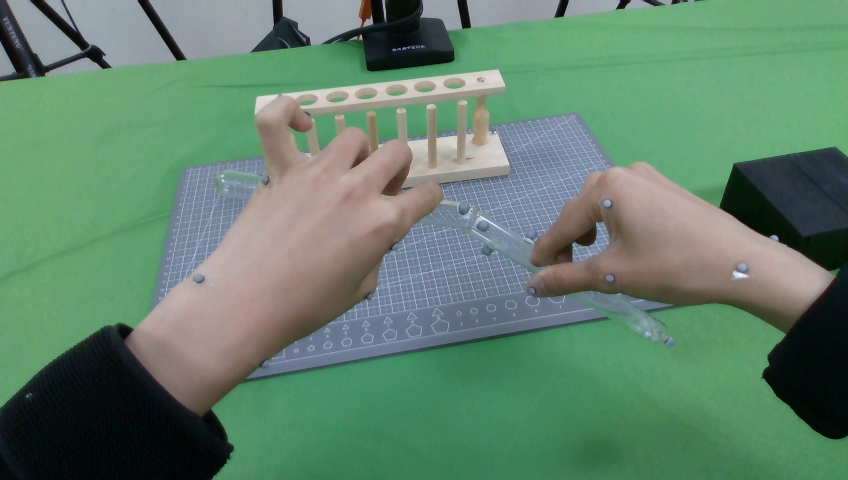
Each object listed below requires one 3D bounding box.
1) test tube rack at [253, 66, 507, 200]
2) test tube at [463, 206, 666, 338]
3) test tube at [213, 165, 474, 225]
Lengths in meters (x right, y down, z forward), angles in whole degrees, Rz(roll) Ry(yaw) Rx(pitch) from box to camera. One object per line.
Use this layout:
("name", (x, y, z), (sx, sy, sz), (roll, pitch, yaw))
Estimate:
("test tube rack", (-0.040, -0.108, 0.610), (0.242, 0.086, 0.066), (-7, 44, -4))
("test tube", (0.088, 0.022, 0.367), (0.151, 0.017, 0.017), (30, 43, -15))
("test tube", (-0.046, -0.026, 0.347), (0.150, 0.017, 0.017), (8, 44, 0))
